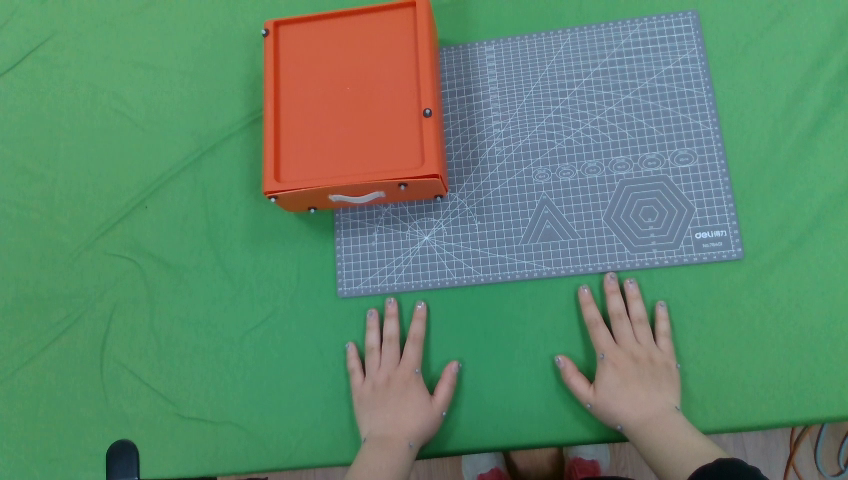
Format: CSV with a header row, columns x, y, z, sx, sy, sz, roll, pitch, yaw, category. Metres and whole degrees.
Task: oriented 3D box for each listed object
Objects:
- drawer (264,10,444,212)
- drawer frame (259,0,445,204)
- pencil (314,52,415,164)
x,y,z,sx,sy,sz,roll,pitch,yaw,category
-0.082,-0.146,0.703,0.194,0.073,0.210,-6,77,8,drawer
-0.084,-0.152,0.703,0.201,0.083,0.212,-6,77,8,drawer frame
-0.072,-0.160,0.730,0.012,0.012,0.193,-41,78,-1,pencil
